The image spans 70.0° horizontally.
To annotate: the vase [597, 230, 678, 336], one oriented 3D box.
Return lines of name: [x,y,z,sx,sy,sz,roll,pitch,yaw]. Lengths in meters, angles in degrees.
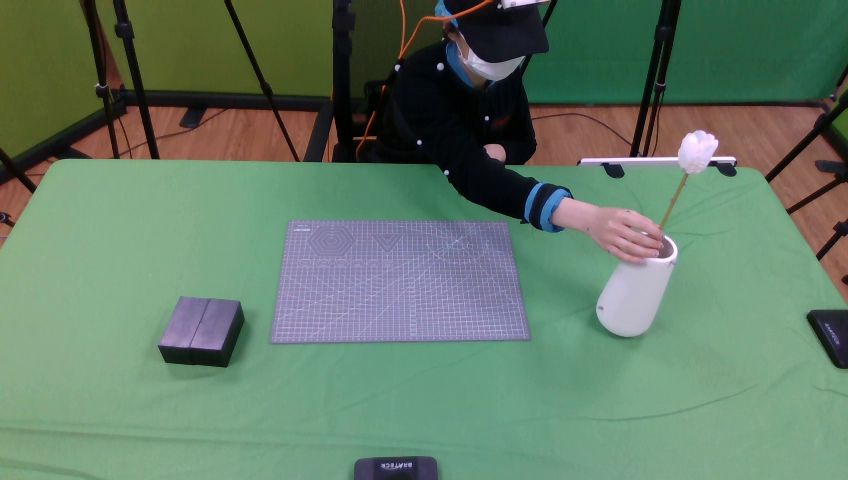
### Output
vase: [0.360,0.077,1.026,0.098,0.201,0.097,1,47,-1]

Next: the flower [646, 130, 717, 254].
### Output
flower: [0.362,-0.016,0.935,0.044,0.363,0.038,7,47,4]
